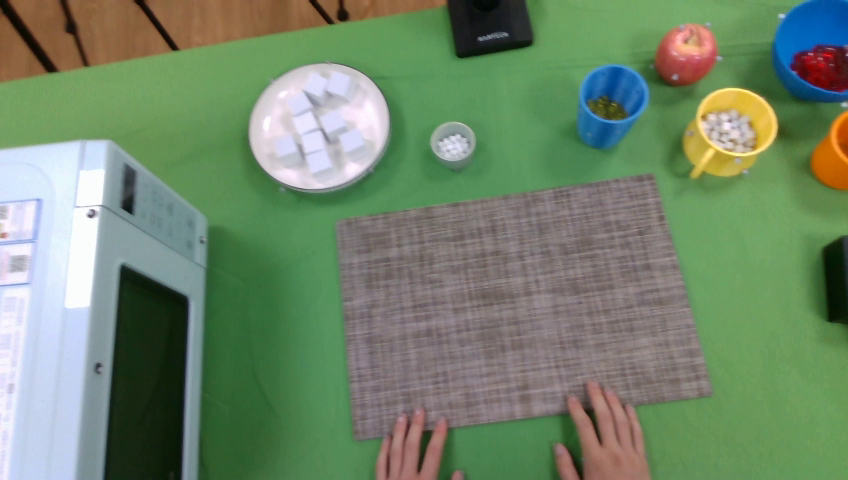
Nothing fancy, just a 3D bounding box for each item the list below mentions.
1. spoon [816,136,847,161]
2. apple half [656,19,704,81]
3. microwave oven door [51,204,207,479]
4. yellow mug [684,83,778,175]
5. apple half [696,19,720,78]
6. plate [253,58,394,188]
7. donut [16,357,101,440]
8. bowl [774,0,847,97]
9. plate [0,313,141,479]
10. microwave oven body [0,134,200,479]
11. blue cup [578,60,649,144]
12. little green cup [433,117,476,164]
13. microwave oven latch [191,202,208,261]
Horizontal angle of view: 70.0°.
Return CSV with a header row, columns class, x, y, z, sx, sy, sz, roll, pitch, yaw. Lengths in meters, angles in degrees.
class,x,y,z,sx,sy,sz,roll,pitch,yaw
spoon,0.581,-0.106,0.738,0.041,0.192,0.022,-49,118,-9
apple half,0.354,-0.263,0.851,0.053,0.075,0.080,-4,75,8
microwave oven door,-0.317,0.166,0.678,0.039,0.245,0.353,-6,72,5
yellow mug,0.399,-0.139,0.811,0.099,0.064,0.130,39,82,16
apple half,0.393,-0.266,0.846,0.033,0.082,0.081,-3,72,9
plate,-0.145,-0.169,0.891,0.207,0.039,0.206,-2,72,6
donut,-0.442,0.192,0.733,0.099,0.048,0.098,0,82,3
bowl,0.545,-0.251,0.824,0.151,0.077,0.150,-2,73,6
plate,-0.445,0.194,0.742,0.209,0.038,0.208,-1,73,5
microwave oven body,-0.464,0.140,0.707,0.326,0.262,0.439,-5,73,4
blue cup,0.249,-0.178,0.820,0.092,0.101,0.092,-1,74,5
little green cup,0.045,-0.139,0.862,0.061,0.039,0.061,-2,72,6
microwave oven latch,-0.318,-0.011,0.840,0.030,0.030,0.078,-3,73,4
